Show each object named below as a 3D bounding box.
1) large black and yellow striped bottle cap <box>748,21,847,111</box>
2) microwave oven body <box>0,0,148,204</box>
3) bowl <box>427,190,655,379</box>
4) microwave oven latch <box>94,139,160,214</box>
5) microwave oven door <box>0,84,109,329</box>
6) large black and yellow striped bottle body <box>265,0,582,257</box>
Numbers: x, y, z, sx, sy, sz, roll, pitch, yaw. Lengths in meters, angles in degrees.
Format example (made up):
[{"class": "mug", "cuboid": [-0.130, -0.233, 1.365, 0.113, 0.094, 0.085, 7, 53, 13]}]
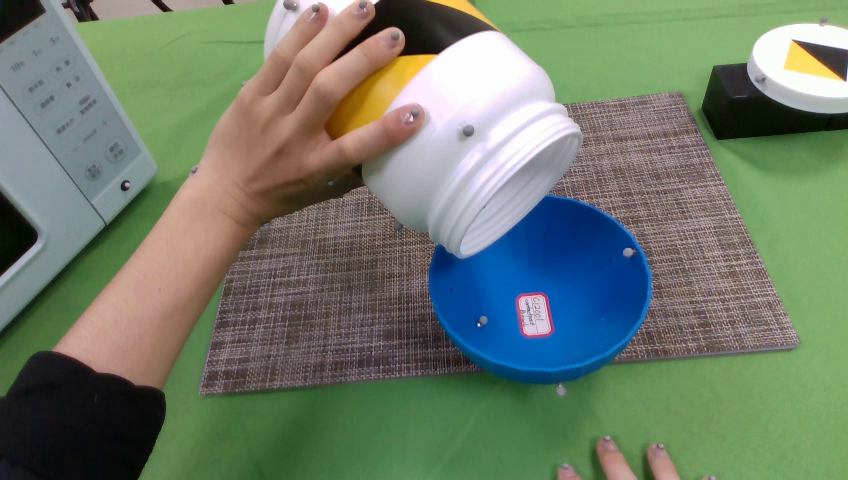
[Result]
[{"class": "large black and yellow striped bottle cap", "cuboid": [0.358, -0.160, 0.549, 0.115, 0.019, 0.114, -4, 50, 6]}, {"class": "microwave oven body", "cuboid": [-0.512, -0.037, 0.467, 0.324, 0.263, 0.439, 18, 56, 20]}, {"class": "bowl", "cuboid": [0.081, 0.043, 0.440, 0.151, 0.077, 0.150, -4, 51, 5]}, {"class": "microwave oven latch", "cuboid": [-0.292, -0.064, 0.585, 0.030, 0.030, 0.079, 19, 57, 21]}, {"class": "microwave oven door", "cuboid": [-0.400, 0.030, 0.391, 0.039, 0.246, 0.354, 17, 55, 21]}, {"class": "large black and yellow striped bottle body", "cuboid": [0.000, -0.091, 0.396, 0.131, 0.131, 0.183, -36, 74, -20]}]
